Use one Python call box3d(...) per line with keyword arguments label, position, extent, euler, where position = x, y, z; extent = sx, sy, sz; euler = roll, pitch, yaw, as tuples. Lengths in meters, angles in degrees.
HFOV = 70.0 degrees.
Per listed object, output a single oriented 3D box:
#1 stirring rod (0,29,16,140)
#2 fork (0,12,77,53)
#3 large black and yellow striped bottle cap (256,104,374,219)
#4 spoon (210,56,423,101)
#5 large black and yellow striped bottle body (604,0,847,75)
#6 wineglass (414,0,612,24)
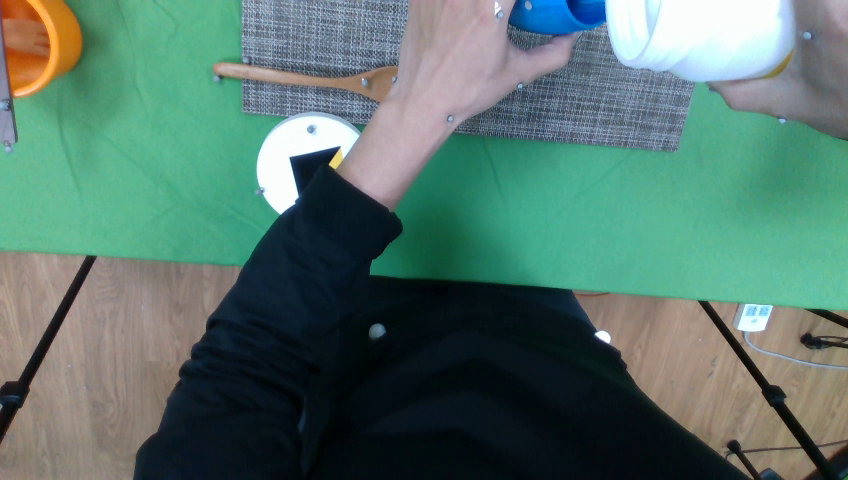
box3d(label="stirring rod", position=(-0.326, -0.162, 0.453), extent=(0.014, 0.005, 0.177), euler=(2, 112, -9))
box3d(label="fork", position=(-0.368, -0.168, 0.446), extent=(0.208, 0.018, 0.028), euler=(-6, 129, -54))
box3d(label="large black and yellow striped bottle cap", position=(-0.107, -0.075, 0.599), extent=(0.115, 0.018, 0.116), euler=(-4, 117, -7))
box3d(label="spoon", position=(-0.098, -0.155, 0.560), extent=(0.194, 0.021, 0.042), euler=(2, 132, -10))
box3d(label="large black and yellow striped bottle body", position=(0.213, -0.169, 0.360), extent=(0.184, 0.130, 0.131), euler=(-4, 113, 0))
box3d(label="wineglass", position=(0.061, -0.202, 0.460), extent=(0.074, 0.170, 0.074), euler=(-13, 114, -32))
